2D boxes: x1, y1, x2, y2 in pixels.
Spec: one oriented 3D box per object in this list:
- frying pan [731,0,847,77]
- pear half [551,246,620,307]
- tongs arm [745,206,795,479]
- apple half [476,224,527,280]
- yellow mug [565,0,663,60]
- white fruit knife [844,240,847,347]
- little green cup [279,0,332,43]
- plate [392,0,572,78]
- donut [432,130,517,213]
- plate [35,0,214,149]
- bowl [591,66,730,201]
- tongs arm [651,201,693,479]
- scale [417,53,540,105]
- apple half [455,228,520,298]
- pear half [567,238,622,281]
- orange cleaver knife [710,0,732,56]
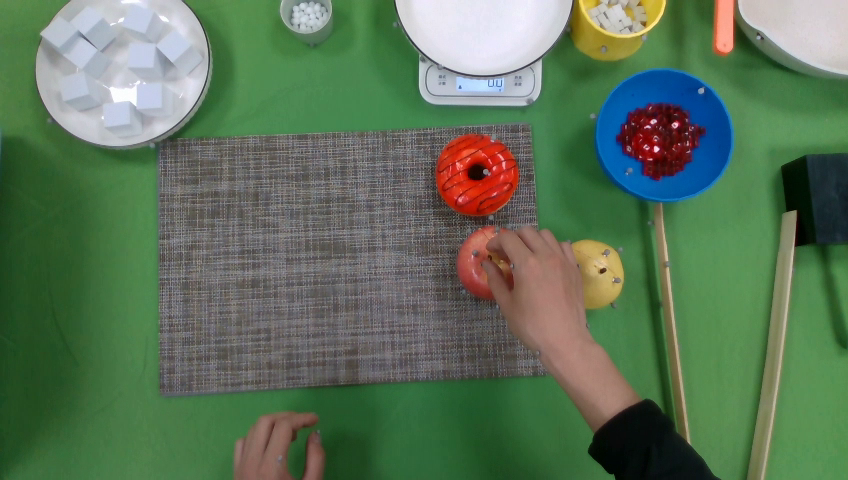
[{"bbox_3d":[0.542,-0.240,0.698,0.307,0.103,0.485,-30,76,-2],"label":"frying pan"},{"bbox_3d":[0.175,0.044,0.663,0.076,0.110,0.056,28,84,7],"label":"pear half"},{"bbox_3d":[0.386,0.149,0.692,0.028,0.028,0.386,13,84,-6],"label":"tongs arm"},{"bbox_3d":[0.093,0.007,0.680,0.033,0.081,0.081,-41,84,-1],"label":"apple half"},{"bbox_3d":[0.215,-0.288,0.723,0.100,0.064,0.130,-35,84,-3],"label":"yellow mug"},{"bbox_3d":[0.485,0.023,0.681,0.016,0.027,0.208,-5,98,0],"label":"white fruit knife"},{"bbox_3d":[-0.141,-0.271,0.735,0.061,0.039,0.061,0,83,1],"label":"little green cup"},{"bbox_3d":[0.067,-0.285,0.707,0.209,0.038,0.208,0,83,0],"label":"plate"},{"bbox_3d":[0.058,-0.080,0.706,0.099,0.048,0.099,0,84,2],"label":"donut"},{"bbox_3d":[-0.353,-0.207,0.728,0.208,0.039,0.207,0,83,0],"label":"plate"},{"bbox_3d":[0.259,-0.113,0.697,0.151,0.077,0.151,0,84,0],"label":"bowl"},{"bbox_3d":[0.301,0.145,0.689,0.051,0.026,0.383,-2,84,-4],"label":"tongs arm"},{"bbox_3d":[0.067,-0.266,0.738,0.149,0.031,0.200,1,84,0],"label":"scale"},{"bbox_3d":[0.063,0.033,0.679,0.053,0.075,0.080,-39,87,-1],"label":"apple half"},{"bbox_3d":[0.195,0.016,0.676,0.070,0.088,0.031,28,84,6],"label":"pear half"},{"bbox_3d":[0.355,-0.313,0.689,0.077,0.012,0.210,2,84,3],"label":"orange cleaver knife"}]
